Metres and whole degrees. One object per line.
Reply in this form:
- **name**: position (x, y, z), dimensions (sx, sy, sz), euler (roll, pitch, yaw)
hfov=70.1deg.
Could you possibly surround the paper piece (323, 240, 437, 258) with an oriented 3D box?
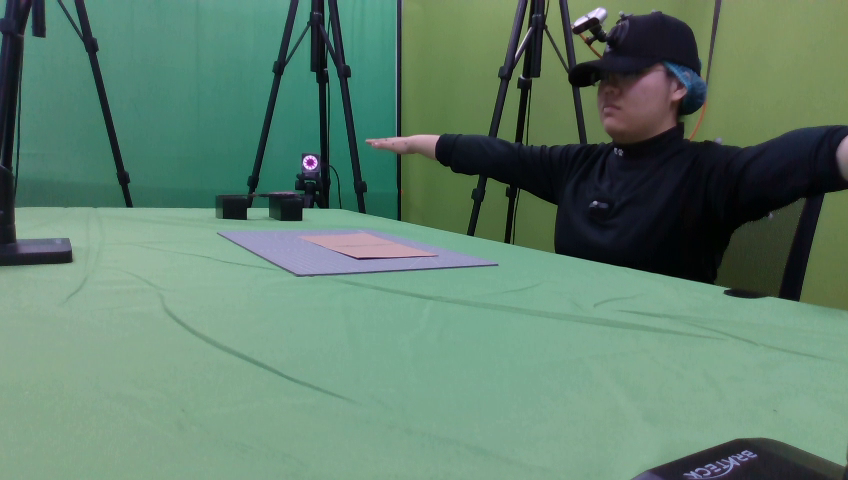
- **paper piece**: position (-0.069, 0.015, 0.932), dimensions (0.137, 0.008, 0.137), euler (-5, 10, -30)

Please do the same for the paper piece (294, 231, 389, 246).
- **paper piece**: position (-0.138, -0.003, 1.045), dimensions (0.136, 0.004, 0.134), euler (-3, 9, -31)

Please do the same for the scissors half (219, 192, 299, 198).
- **scissors half**: position (-0.370, -0.101, 1.363), dimensions (0.176, 0.013, 0.040), euler (-2, 9, -19)

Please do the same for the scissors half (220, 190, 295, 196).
- **scissors half**: position (-0.379, -0.105, 1.380), dimensions (0.176, 0.013, 0.040), euler (-5, 16, -36)
